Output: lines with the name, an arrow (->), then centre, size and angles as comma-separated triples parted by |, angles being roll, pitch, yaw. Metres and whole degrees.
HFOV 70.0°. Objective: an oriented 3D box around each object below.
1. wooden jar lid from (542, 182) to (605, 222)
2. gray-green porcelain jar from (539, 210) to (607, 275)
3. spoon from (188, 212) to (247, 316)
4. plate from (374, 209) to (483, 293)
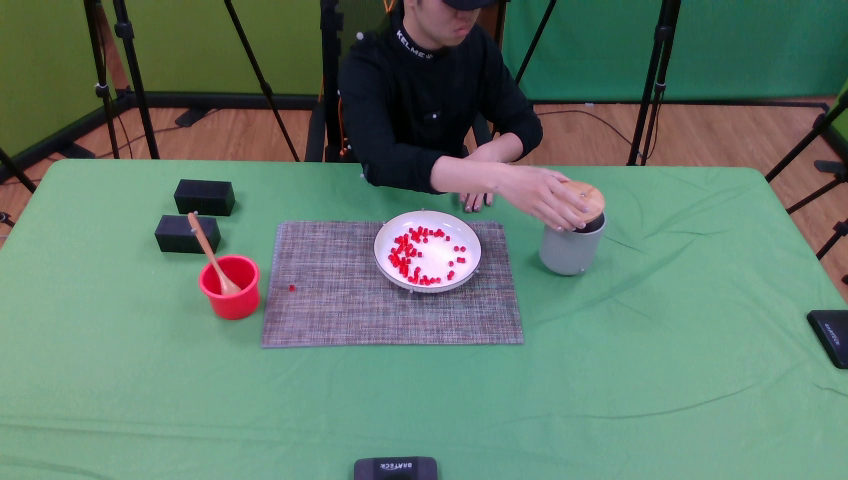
wooden jar lid -> 0.262, -0.066, 1.066 | 0.108, 0.021, 0.107 | -1, 38, 1
gray-green porcelain jar -> 0.278, -0.004, 1.148 | 0.106, 0.127, 0.105 | 2, 46, -2
spoon -> -0.358, 0.042, 1.036 | 0.041, 0.021, 0.194 | -28, 93, -22
plate -> 0.008, 0.024, 1.158 | 0.208, 0.039, 0.206 | 2, 46, -2
